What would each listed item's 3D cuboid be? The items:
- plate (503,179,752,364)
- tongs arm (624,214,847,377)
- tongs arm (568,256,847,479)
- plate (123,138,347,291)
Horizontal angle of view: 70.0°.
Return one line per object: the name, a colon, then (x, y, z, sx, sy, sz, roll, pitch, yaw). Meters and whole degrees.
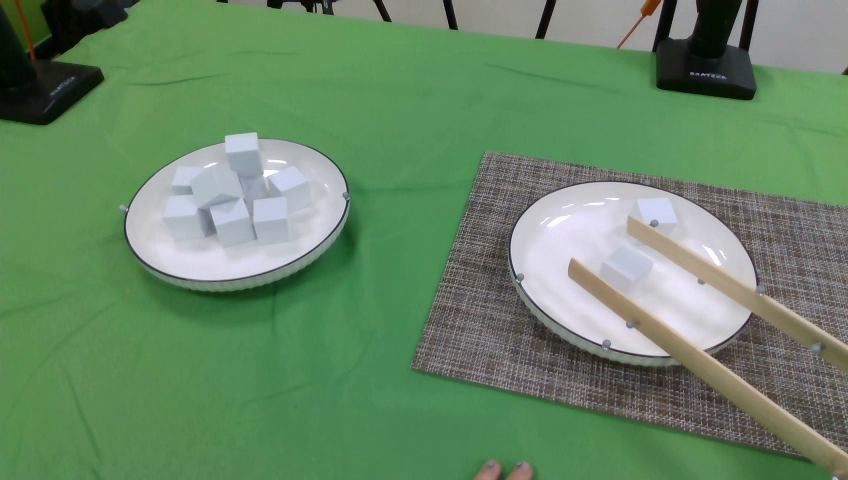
plate: (0.173, 0.025, 0.535, 0.208, 0.039, 0.205, 0, 45, 0)
tongs arm: (0.275, 0.096, 0.396, 0.051, 0.027, 0.381, -35, 52, -22)
tongs arm: (0.243, 0.117, 0.383, 0.028, 0.028, 0.383, -33, 51, -25)
plate: (-0.177, -0.025, 0.591, 0.209, 0.038, 0.207, 0, 45, 0)
